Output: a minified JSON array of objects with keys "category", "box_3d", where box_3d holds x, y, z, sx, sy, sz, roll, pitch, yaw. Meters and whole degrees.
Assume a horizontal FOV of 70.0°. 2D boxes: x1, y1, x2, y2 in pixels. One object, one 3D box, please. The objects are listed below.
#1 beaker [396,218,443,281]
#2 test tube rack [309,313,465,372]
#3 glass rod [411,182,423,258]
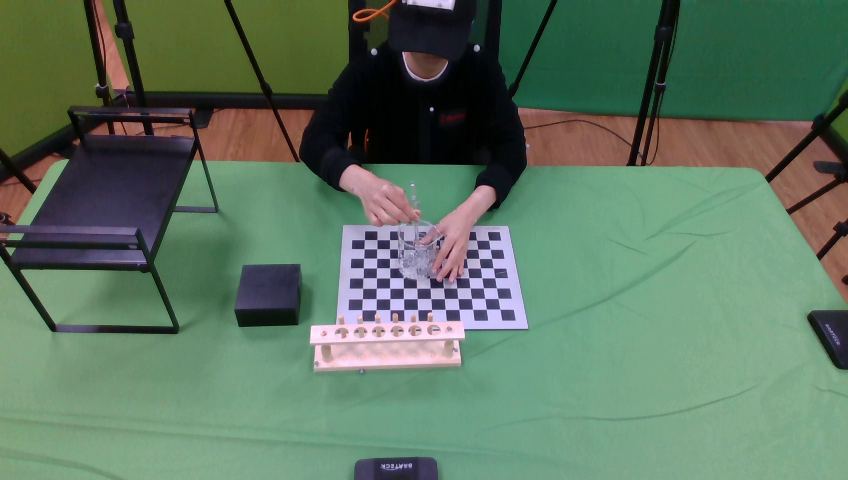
[{"category":"beaker","box_3d":[-0.010,0.020,1.115,0.084,0.101,0.073,1,46,-3]},{"category":"test tube rack","box_3d":[-0.059,0.161,0.990,0.242,0.085,0.066,-1,46,-5]},{"category":"glass rod","box_3d":[-0.012,-0.030,1.083,0.008,0.201,0.008,-3,50,3]}]
